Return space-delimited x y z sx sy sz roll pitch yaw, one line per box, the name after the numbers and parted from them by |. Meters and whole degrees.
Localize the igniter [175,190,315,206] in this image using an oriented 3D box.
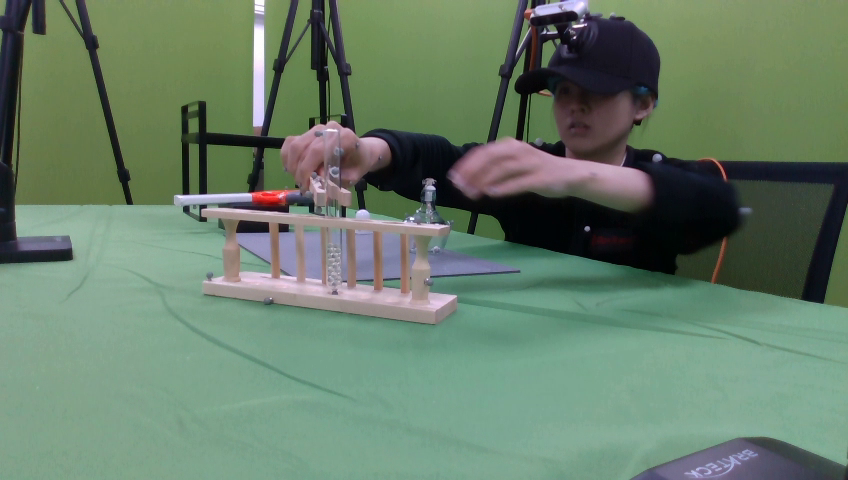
-0.315 -0.079 1.128 0.278 0.025 0.057 -5 13 -34 | igniter

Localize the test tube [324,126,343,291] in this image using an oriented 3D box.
-0.082 -0.027 0.551 0.017 0.150 0.017 1 8 0 | test tube

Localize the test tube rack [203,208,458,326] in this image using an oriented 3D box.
-0.090 0.019 0.579 0.241 0.085 0.067 5 7 19 | test tube rack

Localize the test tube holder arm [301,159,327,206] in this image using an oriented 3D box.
-0.115 -0.063 0.623 0.013 0.015 0.177 5 15 -19 | test tube holder arm

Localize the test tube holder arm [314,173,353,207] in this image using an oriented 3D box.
-0.093 -0.049 0.586 0.010 0.015 0.087 -1 18 -35 | test tube holder arm

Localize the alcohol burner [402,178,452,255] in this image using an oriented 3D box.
0.005 -0.036 0.922 0.078 0.119 0.078 5 7 0 | alcohol burner

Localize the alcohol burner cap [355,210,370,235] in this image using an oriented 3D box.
-0.116 -0.033 1.136 0.034 0.048 0.034 1 7 0 | alcohol burner cap
